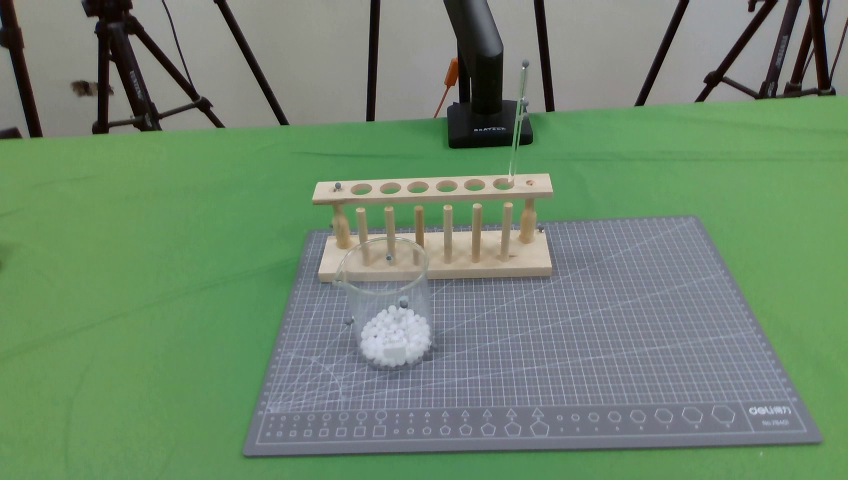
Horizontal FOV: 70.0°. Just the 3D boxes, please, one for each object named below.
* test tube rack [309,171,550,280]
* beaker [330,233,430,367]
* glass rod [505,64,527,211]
[{"bbox_3d":[0.007,-0.014,0.630,0.242,0.086,0.066,-2,38,3],"label":"test tube rack"},{"bbox_3d":[-0.034,0.056,0.531,0.084,0.101,0.073,-15,39,-12],"label":"beaker"},{"bbox_3d":[0.087,-0.076,0.593,0.008,0.201,0.008,0,40,0],"label":"glass rod"}]
